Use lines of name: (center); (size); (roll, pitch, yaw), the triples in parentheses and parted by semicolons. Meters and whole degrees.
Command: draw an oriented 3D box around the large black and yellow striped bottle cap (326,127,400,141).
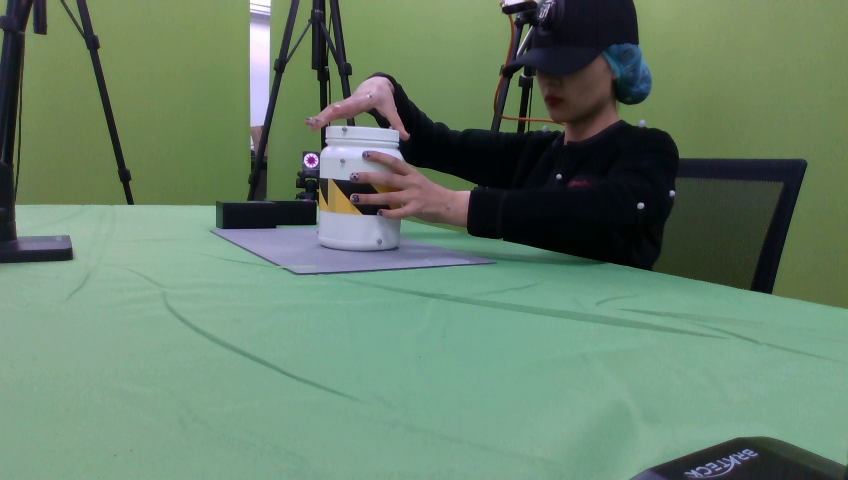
large black and yellow striped bottle cap: (-0.095, -0.164, 0.941); (0.115, 0.019, 0.115); (2, 8, 0)

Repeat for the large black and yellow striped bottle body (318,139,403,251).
large black and yellow striped bottle body: (-0.100, -0.081, 0.953); (0.131, 0.184, 0.130); (3, 7, 0)
